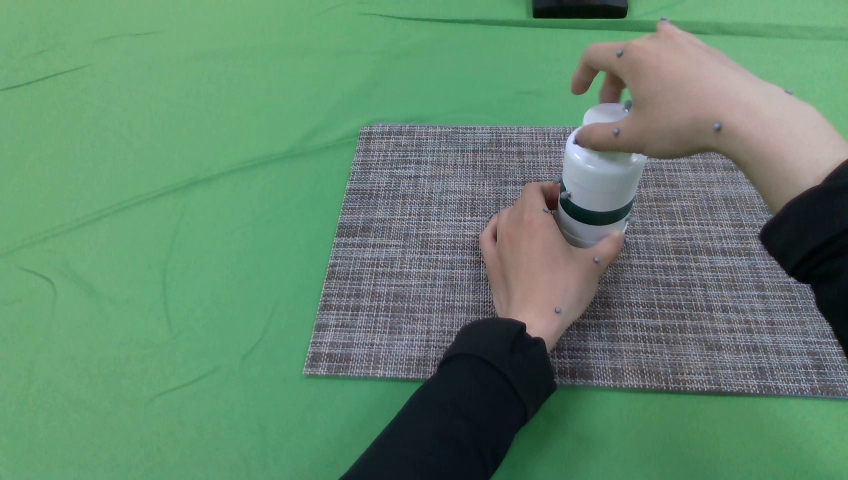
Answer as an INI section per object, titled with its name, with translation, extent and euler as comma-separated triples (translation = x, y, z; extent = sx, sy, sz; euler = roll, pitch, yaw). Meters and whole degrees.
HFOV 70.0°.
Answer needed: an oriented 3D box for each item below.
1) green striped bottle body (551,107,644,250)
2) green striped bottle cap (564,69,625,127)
[green striped bottle body]
translation = 0.143, -0.051, 0.503
extent = 0.063, 0.120, 0.062
euler = -2, 50, 2
[green striped bottle cap]
translation = 0.130, -0.108, 0.462
extent = 0.044, 0.045, 0.020
euler = 12, 61, 14
